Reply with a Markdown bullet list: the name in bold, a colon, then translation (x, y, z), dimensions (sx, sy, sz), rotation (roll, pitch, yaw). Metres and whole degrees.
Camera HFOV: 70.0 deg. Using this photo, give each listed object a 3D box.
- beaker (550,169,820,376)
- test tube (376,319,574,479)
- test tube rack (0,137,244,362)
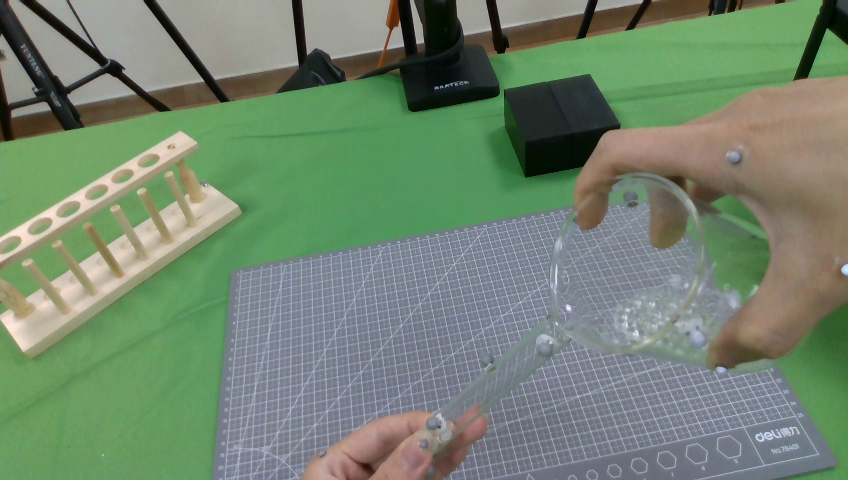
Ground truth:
- **beaker**: translation (0.116, 0.022, 0.270), dimensions (0.101, 0.084, 0.073), rotation (15, 38, -32)
- **test tube**: translation (0.019, 0.088, 0.304), dimensions (0.017, 0.151, 0.017), rotation (28, 33, -20)
- **test tube rack**: translation (-0.310, 0.002, 0.607), dimensions (0.066, 0.086, 0.242), rotation (32, 58, 32)
